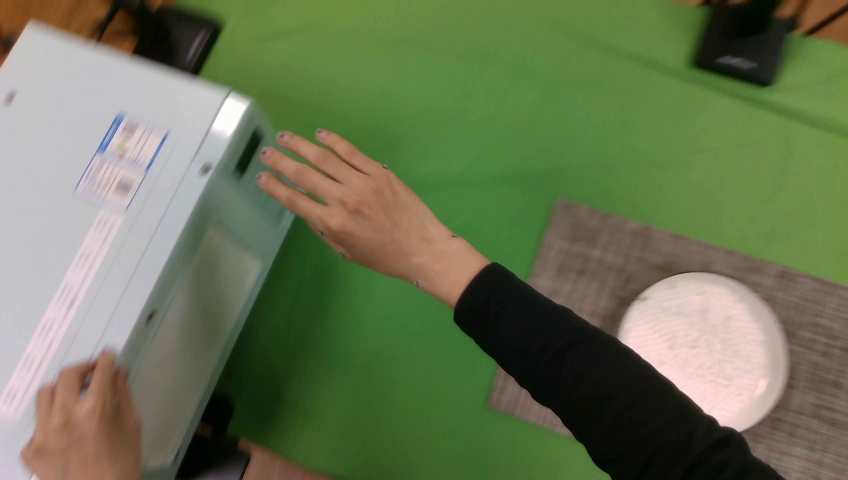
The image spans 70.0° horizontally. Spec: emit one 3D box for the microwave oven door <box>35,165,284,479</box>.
[{"bbox_3d":[-0.285,0.113,0.708,0.039,0.245,0.354,18,76,10],"label":"microwave oven door"}]

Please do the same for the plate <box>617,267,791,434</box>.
[{"bbox_3d":[0.350,0.138,0.770,0.209,0.038,0.208,-1,74,5],"label":"plate"}]

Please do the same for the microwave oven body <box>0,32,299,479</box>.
[{"bbox_3d":[-0.406,0.031,0.746,0.325,0.261,0.440,19,77,9],"label":"microwave oven body"}]

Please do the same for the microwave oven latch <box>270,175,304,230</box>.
[{"bbox_3d":[-0.197,-0.056,0.855,0.030,0.029,0.079,22,78,10],"label":"microwave oven latch"}]
